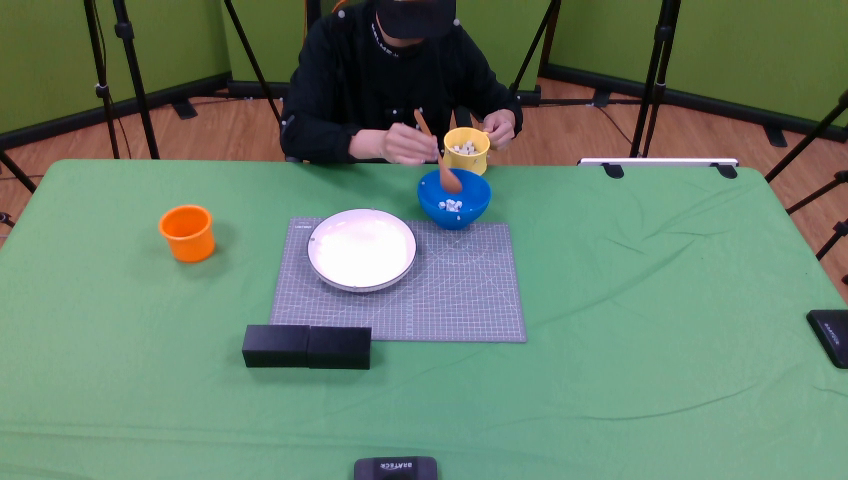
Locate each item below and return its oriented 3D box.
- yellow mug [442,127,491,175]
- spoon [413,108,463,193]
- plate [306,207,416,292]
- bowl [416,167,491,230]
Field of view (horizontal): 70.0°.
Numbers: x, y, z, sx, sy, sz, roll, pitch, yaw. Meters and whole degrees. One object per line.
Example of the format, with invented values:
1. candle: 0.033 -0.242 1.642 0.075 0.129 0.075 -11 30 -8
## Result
1. yellow mug: 0.100 -0.198 1.319 0.131 0.064 0.099 -35 58 -31
2. spoon: 0.023 -0.167 1.156 0.041 0.194 0.021 -13 29 28
3. plate: -0.119 0.021 1.153 0.209 0.038 0.208 2 46 -2
4. bowl: 0.057 -0.074 1.232 0.151 0.077 0.150 3 42 -2
